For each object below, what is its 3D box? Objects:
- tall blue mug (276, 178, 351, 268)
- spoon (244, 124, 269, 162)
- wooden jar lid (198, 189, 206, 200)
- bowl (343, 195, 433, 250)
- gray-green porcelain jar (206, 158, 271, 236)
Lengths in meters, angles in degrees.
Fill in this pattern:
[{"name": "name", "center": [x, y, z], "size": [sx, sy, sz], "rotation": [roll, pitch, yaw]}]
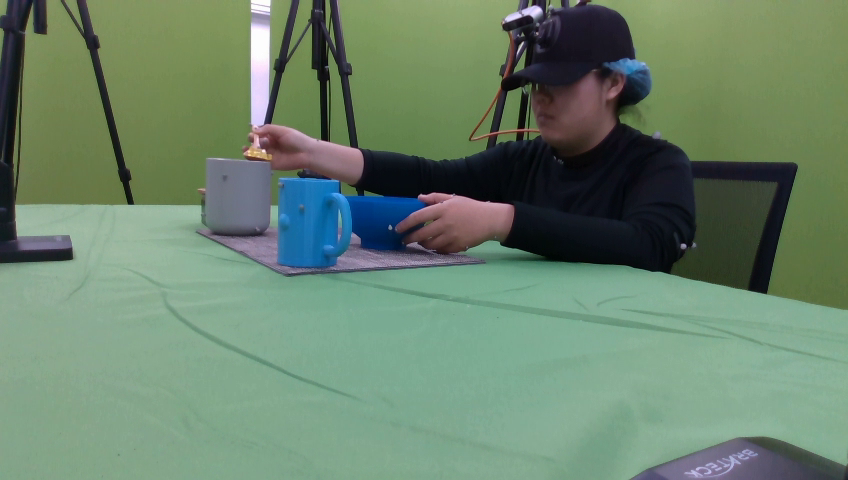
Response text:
[{"name": "tall blue mug", "center": [-0.133, -0.022, 0.766], "size": [0.107, 0.108, 0.078], "rotation": [4, 6, 12]}, {"name": "spoon", "center": [-0.300, -0.177, 1.086], "size": [0.042, 0.021, 0.193], "rotation": [8, 28, -19]}, {"name": "wooden jar lid", "center": [-0.382, -0.088, 1.175], "size": [0.108, 0.020, 0.108], "rotation": [3, 8, 0]}, {"name": "bowl", "center": [-0.063, -0.028, 0.957], "size": [0.151, 0.077, 0.151], "rotation": [3, 7, 0]}, {"name": "gray-green porcelain jar", "center": [-0.316, -0.074, 1.031], "size": [0.106, 0.126, 0.106], "rotation": [3, 7, 0]}]
